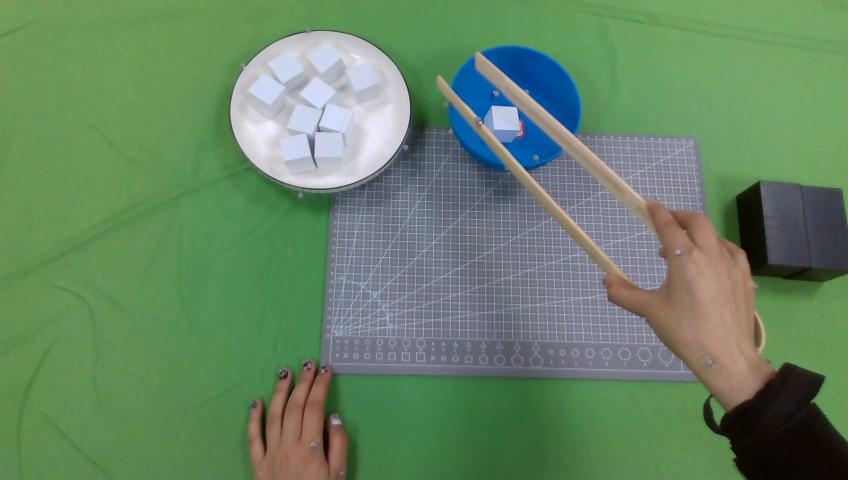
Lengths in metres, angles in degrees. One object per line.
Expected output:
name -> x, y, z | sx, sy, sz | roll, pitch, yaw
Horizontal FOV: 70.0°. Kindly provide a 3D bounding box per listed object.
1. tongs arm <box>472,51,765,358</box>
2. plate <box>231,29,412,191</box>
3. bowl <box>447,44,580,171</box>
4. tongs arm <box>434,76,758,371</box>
tongs arm -> 0.161, -0.051, 0.556 | 0.028, 0.028, 0.384 | -33, 66, -15
plate -> -0.118, -0.150, 0.714 | 0.208, 0.039, 0.206 | 1, 73, -3
bowl -> 0.097, -0.140, 0.705 | 0.151, 0.077, 0.150 | 1, 74, -4
tongs arm -> 0.136, -0.033, 0.550 | 0.051, 0.027, 0.381 | -32, 66, -11
